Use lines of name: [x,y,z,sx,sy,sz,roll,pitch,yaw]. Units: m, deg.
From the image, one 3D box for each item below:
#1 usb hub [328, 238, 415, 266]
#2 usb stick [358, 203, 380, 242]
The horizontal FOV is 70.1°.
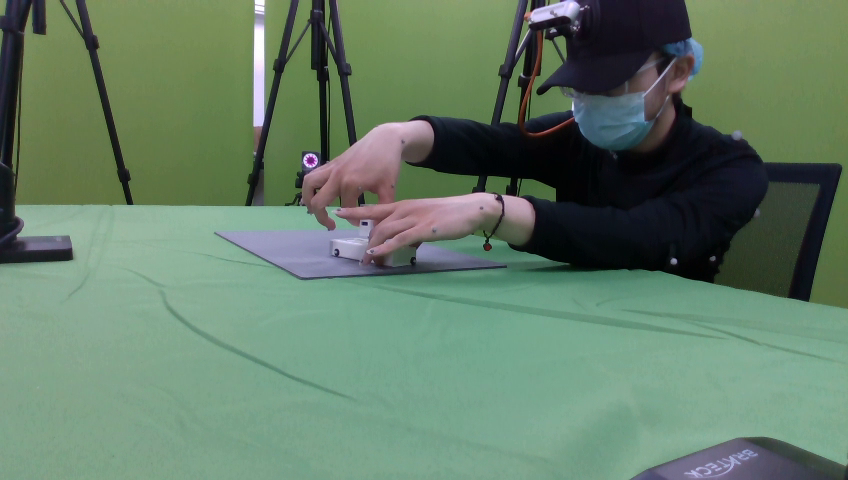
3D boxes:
usb hub: [-0.074,0.015,0.835,0.124,0.025,0.050,7,8,39]
usb stick: [-0.076,-0.021,0.838,0.021,0.059,0.027,7,12,32]
